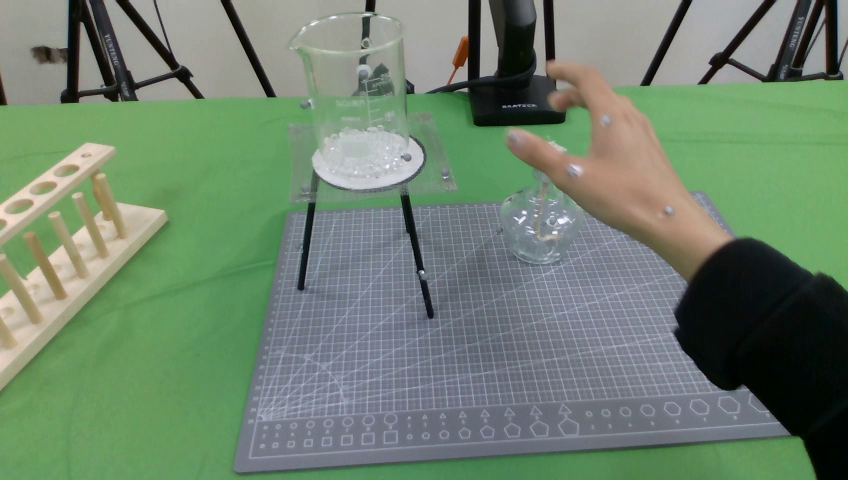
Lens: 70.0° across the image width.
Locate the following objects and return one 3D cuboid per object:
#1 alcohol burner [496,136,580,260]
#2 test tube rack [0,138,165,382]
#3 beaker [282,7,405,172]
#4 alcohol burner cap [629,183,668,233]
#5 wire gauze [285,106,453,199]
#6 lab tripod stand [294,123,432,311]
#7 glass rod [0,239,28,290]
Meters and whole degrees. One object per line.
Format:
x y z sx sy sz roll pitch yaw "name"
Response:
0.106 -0.041 0.555 0.078 0.120 0.077 -1 38 1 "alcohol burner"
-0.336 0.011 0.528 0.066 0.086 0.240 10 41 12 "test tube rack"
-0.054 -0.107 0.443 0.084 0.101 0.073 -7 40 -5 "beaker"
0.224 -0.034 0.601 0.034 0.048 0.033 -1 40 1 "alcohol burner cap"
-0.048 -0.070 0.475 0.125 0.011 0.120 -8 39 -4 "wire gauze"
-0.047 -0.020 0.518 0.148 0.133 0.147 -1 42 1 "lab tripod stand"
-0.365 -0.039 0.485 0.008 0.201 0.008 -4 34 3 "glass rod"
